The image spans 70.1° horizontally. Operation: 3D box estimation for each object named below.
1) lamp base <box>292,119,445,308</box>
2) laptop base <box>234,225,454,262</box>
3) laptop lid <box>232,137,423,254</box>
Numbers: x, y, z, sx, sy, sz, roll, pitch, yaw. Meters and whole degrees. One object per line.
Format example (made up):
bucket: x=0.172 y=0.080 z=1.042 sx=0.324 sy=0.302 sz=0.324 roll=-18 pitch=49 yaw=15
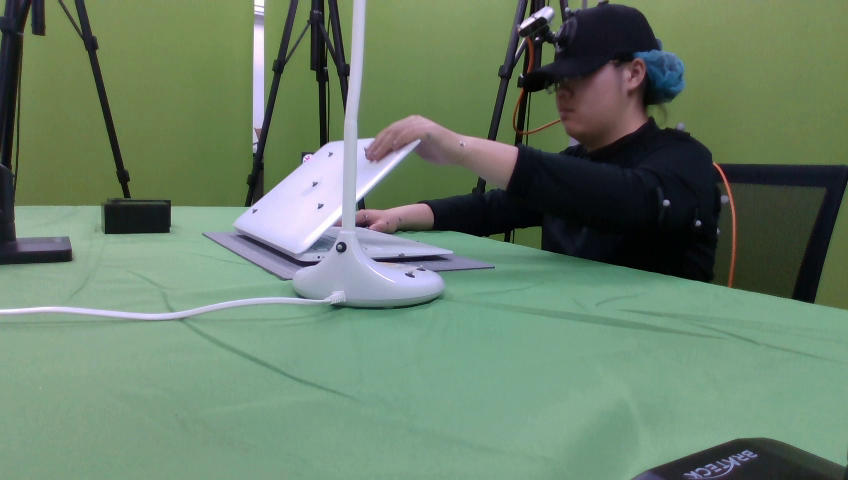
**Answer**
lamp base: x=-0.056 y=-0.030 z=0.616 sx=0.160 sy=0.180 sz=0.179 roll=4 pitch=10 yaw=8
laptop base: x=-0.143 y=0.003 z=0.957 sx=0.237 sy=0.023 sz=0.352 roll=2 pitch=6 yaw=-32
laptop lid: x=-0.166 y=-0.083 z=0.929 sx=0.242 sy=0.013 sz=0.355 roll=-44 pitch=27 yaw=-16
